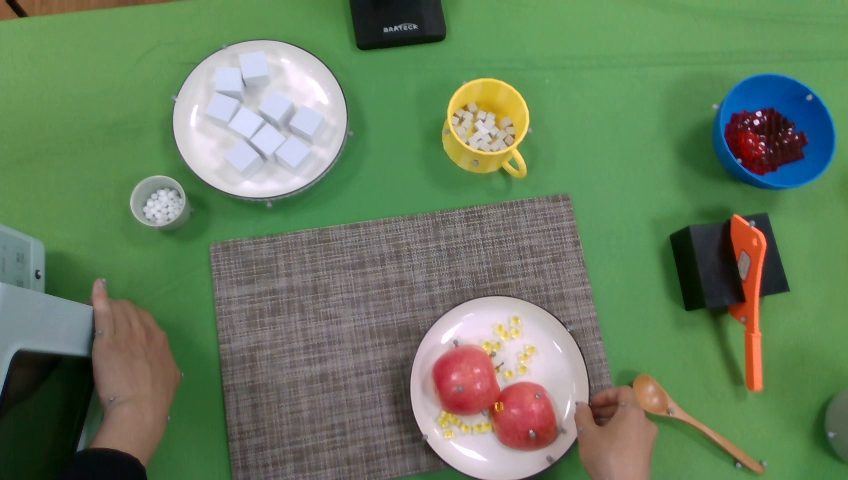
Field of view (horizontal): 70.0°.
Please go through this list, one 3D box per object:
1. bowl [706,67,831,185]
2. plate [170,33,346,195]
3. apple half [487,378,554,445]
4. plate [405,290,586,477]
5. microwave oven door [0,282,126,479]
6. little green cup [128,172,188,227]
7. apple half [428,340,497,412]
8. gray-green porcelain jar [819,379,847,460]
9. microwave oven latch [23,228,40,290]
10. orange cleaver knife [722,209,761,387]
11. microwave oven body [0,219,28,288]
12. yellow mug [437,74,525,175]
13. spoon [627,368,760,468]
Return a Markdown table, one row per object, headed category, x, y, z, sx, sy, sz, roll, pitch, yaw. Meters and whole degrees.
| category | x | y | z | sx | sy | sz | roll | pitch | yaw |
| --- | --- | --- | --- | --- | --- | --- | --- | --- | --- |
| bowl | 0.423 | -0.134 | 0.775 | 0.151 | 0.077 | 0.150 | 1 | 79 | -4 |
| plate | -0.200 | -0.152 | 0.746 | 0.208 | 0.039 | 0.206 | 1 | 78 | -5 |
| apple half | 0.111 | 0.197 | 0.690 | 0.081 | 0.033 | 0.081 | 1 | 74 | -3 |
| plate | 0.080 | 0.163 | 0.701 | 0.209 | 0.038 | 0.208 | 1 | 78 | -5 |
| microwave oven door | -0.369 | 0.221 | 0.530 | 0.039 | 0.244 | 0.354 | 9 | 77 | -2 |
| little green cup | -0.310 | -0.045 | 0.712 | 0.061 | 0.039 | 0.061 | 1 | 78 | -6 |
| apple half | 0.043 | 0.154 | 0.684 | 0.075 | 0.053 | 0.080 | -12 | 80 | -4 |
| gray-green porcelain jar | 0.533 | 0.210 | 0.688 | 0.106 | 0.127 | 0.105 | 1 | 77 | -5 |
| microwave oven latch | -0.444 | 0.028 | 0.668 | 0.030 | 0.029 | 0.079 | -6 | 79 | -7 |
| orange cleaver knife | 0.379 | 0.070 | 0.727 | 0.012 | 0.077 | 0.212 | -7 | 102 | -2 |
| microwave oven body | -0.565 | 0.192 | 0.524 | 0.326 | 0.261 | 0.439 | -5 | 79 | -6 |
| yellow mug | 0.079 | -0.134 | 0.752 | 0.100 | 0.064 | 0.130 | -37 | 84 | -12 |
| spoon | 0.321 | 0.217 | 0.722 | 0.193 | 0.022 | 0.041 | 34 | 60 | 3 |
